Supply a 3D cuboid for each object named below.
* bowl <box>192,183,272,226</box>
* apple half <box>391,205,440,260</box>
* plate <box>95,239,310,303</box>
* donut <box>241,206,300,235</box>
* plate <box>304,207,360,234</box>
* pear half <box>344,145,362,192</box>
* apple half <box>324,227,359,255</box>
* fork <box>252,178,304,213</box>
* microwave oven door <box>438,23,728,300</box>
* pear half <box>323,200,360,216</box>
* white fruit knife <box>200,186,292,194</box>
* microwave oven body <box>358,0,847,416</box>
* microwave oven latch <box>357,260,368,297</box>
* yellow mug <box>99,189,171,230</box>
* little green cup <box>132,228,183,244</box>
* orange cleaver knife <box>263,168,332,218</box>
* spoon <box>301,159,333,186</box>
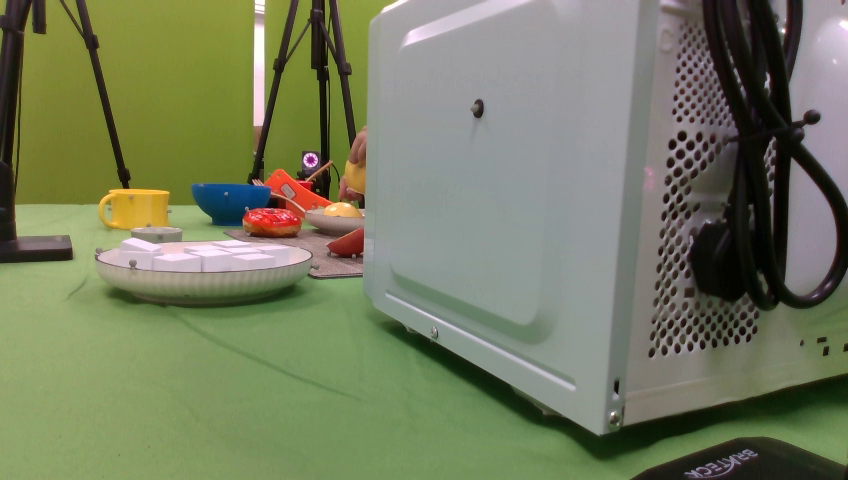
[{"bbox_3d":[-0.381,-0.071,1.202,0.151,0.077,0.151,3,7,0],"label":"bowl"},{"bbox_3d":[-0.005,-0.009,0.837,0.053,0.074,0.081,10,6,23],"label":"apple half"},{"bbox_3d":[-0.224,0.031,0.629,0.208,0.039,0.207,2,8,0],"label":"plate"},{"bbox_3d":[-0.263,-0.032,1.039,0.099,0.048,0.099,4,10,0],"label":"donut"},{"bbox_3d":[-0.123,-0.037,1.149,0.209,0.038,0.209,2,7,0],"label":"plate"},{"bbox_3d":[-0.087,-0.131,1.021,0.077,0.109,0.055,12,6,-38],"label":"pear half"},{"bbox_3d":[-0.095,0.002,0.848,0.081,0.033,0.081,-21,0,0],"label":"apple half"},{"bbox_3d":[-0.295,-0.084,1.292,0.206,0.018,0.028,29,11,25],"label":"fork"},{"bbox_3d":[0.181,-0.072,0.621,0.358,0.243,0.039,-2,8,-29],"label":"microwave oven door"},{"bbox_3d":[-0.155,-0.059,1.196,0.088,0.031,0.070,13,32,0],"label":"pear half"},{"bbox_3d":[-0.399,-0.111,1.368,0.208,0.016,0.027,-4,-19,-30],"label":"white fruit knife"},{"bbox_3d":[0.211,-0.047,0.474,0.444,0.260,0.324,-1,7,-28],"label":"microwave oven body"},{"bbox_3d":[-0.019,0.033,0.530,0.079,0.029,0.030,-1,7,-26],"label":"microwave oven latch"},{"bbox_3d":[-0.518,-0.055,1.080,0.099,0.064,0.131,6,9,26],"label":"yellow mug"},{"bbox_3d":[-0.342,0.006,0.779,0.061,0.038,0.061,2,8,0],"label":"little green cup"},{"bbox_3d":[-0.262,-0.088,1.353,0.211,0.077,0.012,28,13,-1],"label":"orange cleaver knife"},{"bbox_3d":[-0.316,-0.159,1.639,0.194,0.022,0.041,-49,32,-20],"label":"spoon"}]
